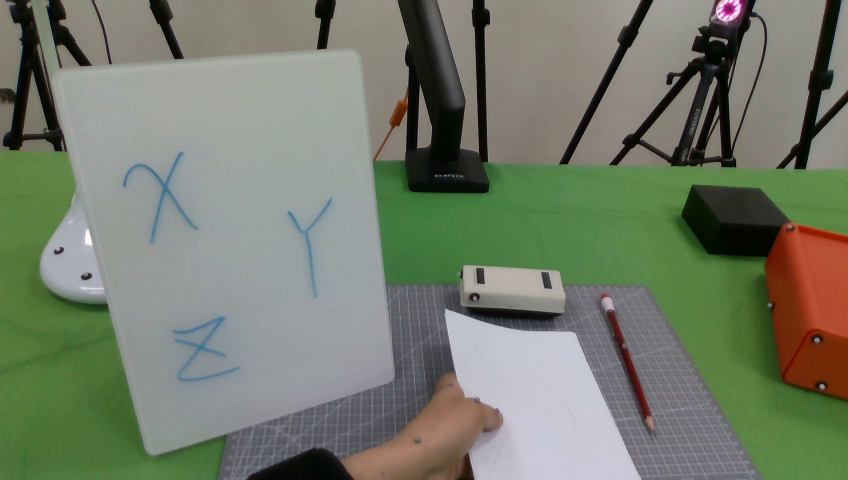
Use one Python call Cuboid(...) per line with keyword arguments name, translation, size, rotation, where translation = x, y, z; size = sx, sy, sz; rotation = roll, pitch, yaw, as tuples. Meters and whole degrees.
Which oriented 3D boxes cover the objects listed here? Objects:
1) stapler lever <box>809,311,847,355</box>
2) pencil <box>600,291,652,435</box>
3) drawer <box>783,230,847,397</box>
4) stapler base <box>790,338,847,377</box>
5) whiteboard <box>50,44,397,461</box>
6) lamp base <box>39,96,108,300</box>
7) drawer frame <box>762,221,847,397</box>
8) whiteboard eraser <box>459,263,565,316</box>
Cuboid(name="stapler lever", translation=(0.450, 0.104, 0.604), size=(0.117, 0.040, 0.027), rotation=(14, 34, 20))
Cuboid(name="pencil", translation=(0.205, 0.118, 0.620), size=(0.012, 0.012, 0.192), rotation=(4, 36, -2))
Cuboid(name="drawer", translation=(0.486, 0.085, 0.646), size=(0.194, 0.074, 0.211), rotation=(14, 35, 14))
Cuboid(name="stapler base", translation=(0.448, 0.124, 0.616), size=(0.130, 0.024, 0.041), rotation=(16, 34, 19))
Cuboid(name="whiteboard", translation=(-0.163, -0.005, 0.541), size=(0.218, 0.307, 0.142), rotation=(-12, 19, -22))
Cuboid(name="lamp base", translation=(-0.347, -0.054, 0.647), size=(0.178, 0.181, 0.160), rotation=(24, 39, 29))
Cuboid(name="drawer frame", translation=(0.486, 0.082, 0.647), size=(0.201, 0.083, 0.212), rotation=(14, 35, 14))
Cuboid(name="whiteboard eraser", translation=(0.095, 0.055, 0.666), size=(0.113, 0.042, 0.055), rotation=(4, 36, -1))
